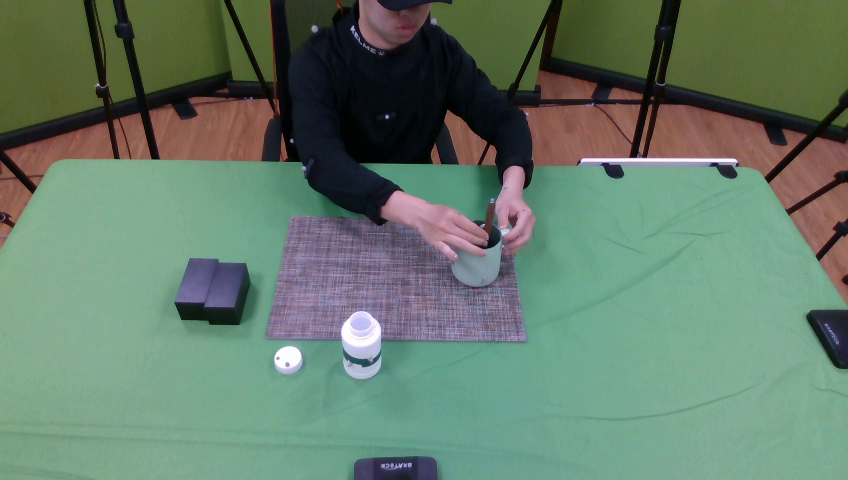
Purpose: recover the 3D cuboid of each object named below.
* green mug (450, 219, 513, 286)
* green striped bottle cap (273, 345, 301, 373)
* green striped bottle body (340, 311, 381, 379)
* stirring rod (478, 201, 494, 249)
[{"bbox_3d":[0.111,0.018,1.125,0.125,0.105,0.092,-22,52,-23],"label":"green mug"},{"bbox_3d":[-0.225,0.195,0.997,0.044,0.020,0.044,2,50,-3],"label":"green striped bottle cap"},{"bbox_3d":[-0.101,0.164,0.964,0.063,0.120,0.063,2,46,-2],"label":"green striped bottle body"},{"bbox_3d":[0.103,0.007,1.077,0.014,0.177,0.006,5,35,-4],"label":"stirring rod"}]
